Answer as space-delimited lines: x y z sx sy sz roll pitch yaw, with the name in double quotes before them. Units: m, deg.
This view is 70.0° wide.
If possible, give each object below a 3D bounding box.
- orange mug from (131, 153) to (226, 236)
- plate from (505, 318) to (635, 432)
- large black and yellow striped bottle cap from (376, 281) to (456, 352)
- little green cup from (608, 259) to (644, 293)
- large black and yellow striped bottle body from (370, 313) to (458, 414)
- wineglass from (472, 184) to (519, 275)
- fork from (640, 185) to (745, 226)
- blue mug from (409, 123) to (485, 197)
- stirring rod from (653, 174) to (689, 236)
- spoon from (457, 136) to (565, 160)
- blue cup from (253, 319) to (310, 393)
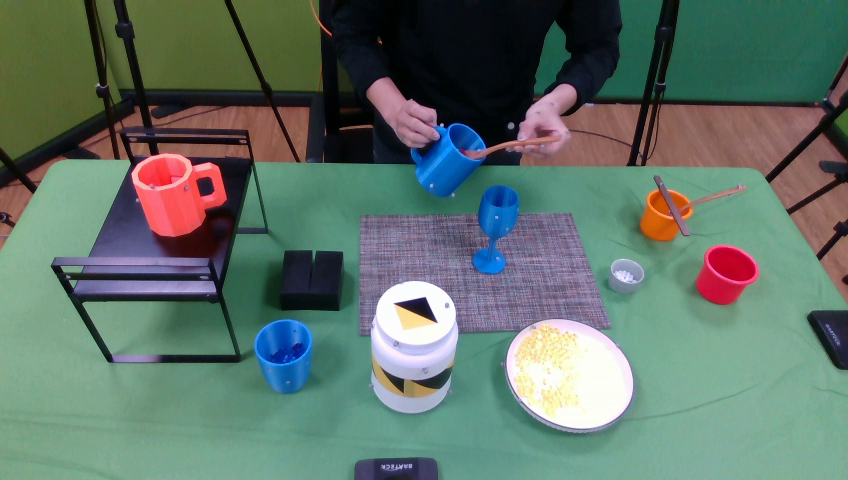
"orange mug" -0.375 -0.075 0.937 0.126 0.101 0.083 -20 50 -17
"plate" 0.235 0.221 0.991 0.209 0.038 0.208 2 46 -2
"large black and yellow striped bottle cap" -0.011 0.107 0.863 0.115 0.019 0.114 2 47 -2
"little green cup" 0.379 0.070 1.147 0.061 0.039 0.061 3 45 -3
"large black and yellow striped bottle body" -0.017 0.165 0.924 0.131 0.185 0.130 2 46 -2
"wineglass" 0.129 -0.018 1.113 0.074 0.173 0.073 2 46 -2
"fork" 0.534 -0.069 1.215 0.207 0.019 0.028 -26 27 33
"blue mug" 0.029 -0.145 1.041 0.117 0.106 0.082 33 44 -13
"stirring rod" 0.491 -0.072 1.211 0.014 0.006 0.175 0 47 -6
"spoon" 0.133 -0.152 0.985 0.193 0.022 0.041 -8 27 29
"blue cup" -0.217 0.187 0.943 0.093 0.101 0.092 4 45 -3
